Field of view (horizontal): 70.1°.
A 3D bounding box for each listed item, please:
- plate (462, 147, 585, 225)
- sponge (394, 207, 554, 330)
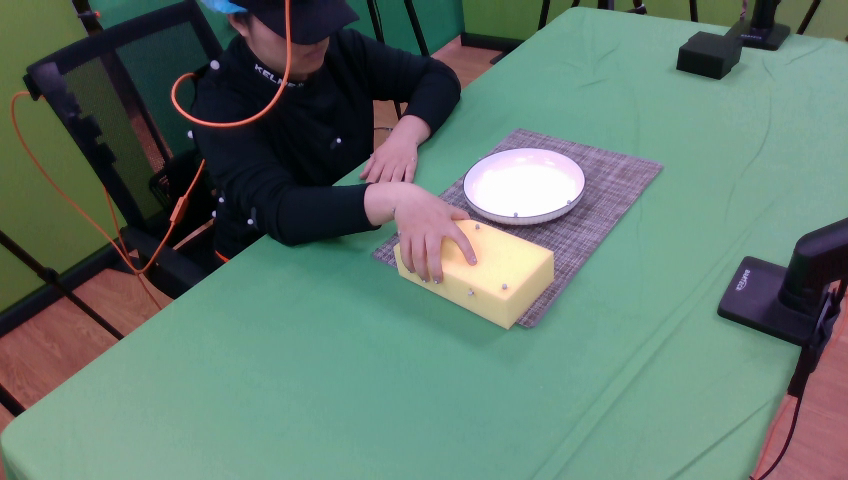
[{"bbox_3d":[0.170,-0.089,1.041,0.207,0.039,0.206,-5,40,5],"label":"plate"},{"bbox_3d":[0.073,0.036,0.895,0.205,0.061,0.118,24,50,33],"label":"sponge"}]
